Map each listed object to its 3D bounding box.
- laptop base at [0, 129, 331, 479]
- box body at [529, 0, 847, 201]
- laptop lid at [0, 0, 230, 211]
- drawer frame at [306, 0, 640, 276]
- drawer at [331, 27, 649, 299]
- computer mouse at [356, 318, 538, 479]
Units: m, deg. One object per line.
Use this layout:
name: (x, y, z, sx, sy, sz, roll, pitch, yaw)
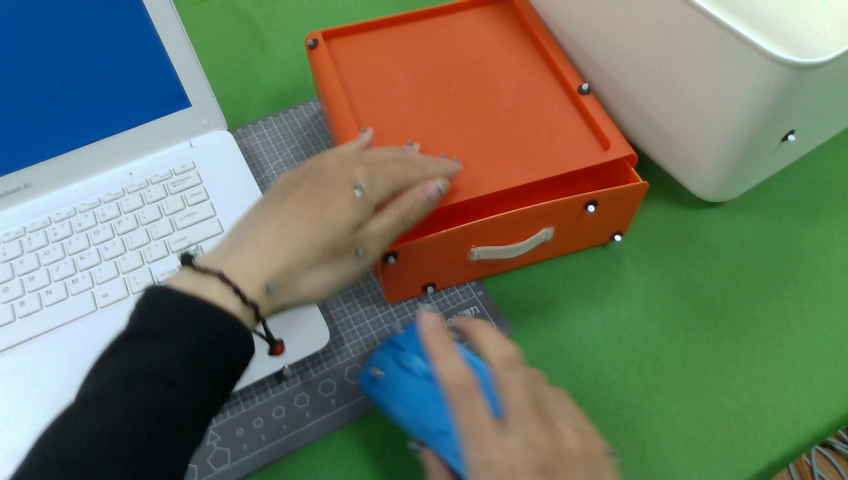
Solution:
laptop base: (-0.271, 0.059, 0.443, 0.355, 0.023, 0.233, -25, 62, -14)
box body: (0.233, -0.233, 0.532, 0.254, 0.162, 0.360, -29, 60, -16)
laptop lid: (-0.356, -0.124, 0.445, 0.357, 0.244, 0.013, -26, 29, -13)
drawer frame: (0.027, -0.095, 0.494, 0.202, 0.083, 0.211, -17, 57, -9)
drawer: (0.035, -0.076, 0.481, 0.195, 0.074, 0.209, -15, 57, -9)
computer mouse: (0.012, 0.099, 0.378, 0.116, 0.041, 0.063, 38, 70, 27)
